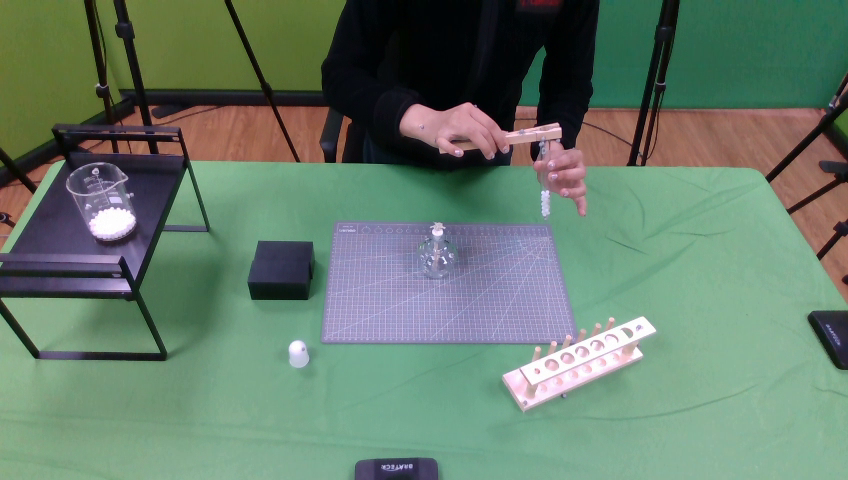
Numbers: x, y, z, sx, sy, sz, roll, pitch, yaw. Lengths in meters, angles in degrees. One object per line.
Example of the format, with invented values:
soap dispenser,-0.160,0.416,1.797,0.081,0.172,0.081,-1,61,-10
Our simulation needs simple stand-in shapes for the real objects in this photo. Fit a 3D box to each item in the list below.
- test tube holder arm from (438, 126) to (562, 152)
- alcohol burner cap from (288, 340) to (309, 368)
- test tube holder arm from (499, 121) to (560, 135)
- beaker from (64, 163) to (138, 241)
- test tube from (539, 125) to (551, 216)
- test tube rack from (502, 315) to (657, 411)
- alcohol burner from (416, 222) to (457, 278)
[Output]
test tube holder arm,0.109,-0.147,0.881,0.178,0.015,0.013,-7,36,7
alcohol burner cap,-0.207,0.183,0.991,0.034,0.048,0.033,2,47,-2
test tube holder arm,0.153,-0.157,0.882,0.088,0.015,0.010,-13,36,-1
beaker,-0.477,-0.055,0.910,0.084,0.101,0.073,-9,48,-13
test tube,0.183,-0.102,0.913,0.017,0.151,0.017,-6,33,4
test tube rack,0.253,0.186,0.988,0.242,0.085,0.066,-18,51,-20
alcohol burner,0.024,0.013,1.115,0.078,0.120,0.077,1,45,-1
